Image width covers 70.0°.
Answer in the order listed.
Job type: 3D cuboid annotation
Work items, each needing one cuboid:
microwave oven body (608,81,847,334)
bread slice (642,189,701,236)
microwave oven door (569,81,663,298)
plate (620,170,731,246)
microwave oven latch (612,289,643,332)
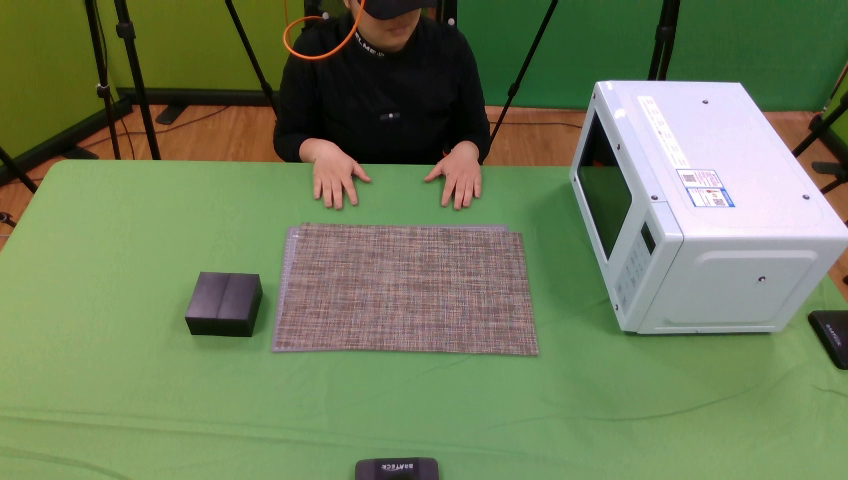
[{"bbox_3d":[0.501,-0.070,1.132,0.326,0.261,0.438,-1,45,-4],"label":"microwave oven body"},{"bbox_3d":[0.494,-0.056,1.197,0.105,0.019,0.131,6,42,4],"label":"bread slice"},{"bbox_3d":[0.353,-0.104,1.147,0.039,0.245,0.353,0,46,-4],"label":"microwave oven door"},{"bbox_3d":[0.490,-0.060,1.194,0.209,0.038,0.208,3,45,-3],"label":"plate"},{"bbox_3d":[0.357,0.124,1.068,0.030,0.029,0.078,0,45,-3],"label":"microwave oven latch"}]
